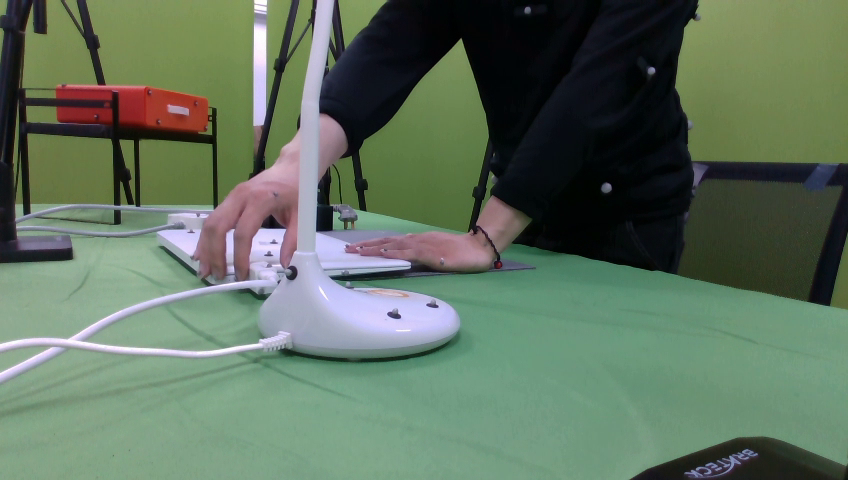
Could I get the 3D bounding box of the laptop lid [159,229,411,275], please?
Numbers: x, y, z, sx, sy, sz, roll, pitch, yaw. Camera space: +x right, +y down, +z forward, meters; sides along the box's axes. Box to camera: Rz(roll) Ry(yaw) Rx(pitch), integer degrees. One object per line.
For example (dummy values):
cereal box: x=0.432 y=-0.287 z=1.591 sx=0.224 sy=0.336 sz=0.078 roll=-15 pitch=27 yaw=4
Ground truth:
laptop lid: x=-0.202 y=0.008 z=0.806 sx=0.243 sy=0.013 sz=0.355 roll=-1 pitch=8 yaw=-31

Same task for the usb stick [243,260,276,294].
usb stick: x=-0.166 y=0.036 z=0.603 sx=0.021 sy=0.027 sz=0.059 roll=-9 pitch=9 yaw=-28

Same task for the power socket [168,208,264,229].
power socket: x=-0.381 y=-0.038 z=1.128 sx=0.072 sy=0.032 sz=0.227 roll=4 pitch=8 yaw=16

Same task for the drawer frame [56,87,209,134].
drawer frame: x=-0.598 y=-0.269 z=1.261 sx=0.213 sy=0.082 sz=0.202 roll=4 pitch=8 yaw=14

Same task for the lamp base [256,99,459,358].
lamp base: x=-0.055 y=-0.013 z=0.463 sx=0.160 sy=0.180 sz=0.180 roll=6 pitch=11 yaw=27

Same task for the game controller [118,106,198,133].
game controller: x=-0.555 y=-0.251 z=1.255 sx=0.097 sy=0.051 sz=0.155 roll=8 pitch=12 yaw=18

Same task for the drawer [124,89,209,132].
drawer: x=-0.595 y=-0.267 z=1.263 sx=0.211 sy=0.073 sz=0.195 roll=3 pitch=8 yaw=15

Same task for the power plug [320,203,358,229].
power plug: x=-0.169 y=-0.046 z=1.209 sx=0.072 sy=0.052 sz=0.035 roll=-4 pitch=-13 yaw=-2

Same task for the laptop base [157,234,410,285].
laptop base: x=-0.204 y=0.019 z=0.806 sx=0.237 sy=0.023 sz=0.352 roll=0 pitch=7 yaw=-33
